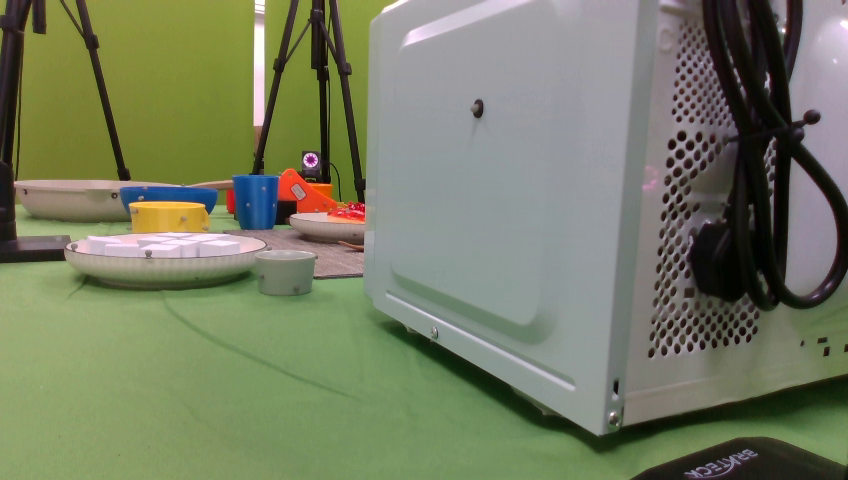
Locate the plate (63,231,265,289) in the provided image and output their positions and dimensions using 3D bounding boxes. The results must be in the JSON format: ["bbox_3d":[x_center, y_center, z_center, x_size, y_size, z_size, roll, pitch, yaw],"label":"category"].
[{"bbox_3d":[-0.288,0.021,0.687,0.208,0.039,0.207,2,8,0],"label":"plate"}]

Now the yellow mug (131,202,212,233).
[{"bbox_3d":[-0.356,-0.020,0.878,0.099,0.064,0.131,5,7,21],"label":"yellow mug"}]

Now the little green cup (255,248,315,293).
[{"bbox_3d":[-0.144,0.031,0.627,0.061,0.038,0.061,2,6,0],"label":"little green cup"}]

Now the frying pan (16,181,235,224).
[{"bbox_3d":[-0.554,-0.097,1.266,0.490,0.102,0.305,-10,13,-24],"label":"frying pan"}]

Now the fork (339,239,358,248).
[{"bbox_3d":[-0.027,0.004,0.925,0.208,0.018,0.028,-2,-4,-18],"label":"fork"}]

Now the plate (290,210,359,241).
[{"bbox_3d":[-0.127,-0.025,1.051,0.209,0.038,0.209,2,7,0],"label":"plate"}]

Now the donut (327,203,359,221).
[{"bbox_3d":[-0.120,-0.037,1.055,0.099,0.048,0.099,5,7,0],"label":"donut"}]

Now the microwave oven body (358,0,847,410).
[{"bbox_3d":[0.210,-0.051,0.471,0.444,0.260,0.324,-1,7,-28],"label":"microwave oven body"}]

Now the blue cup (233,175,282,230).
[{"bbox_3d":[-0.314,-0.071,1.141,0.093,0.100,0.092,0,7,0],"label":"blue cup"}]

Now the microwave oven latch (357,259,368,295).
[{"bbox_3d":[-0.019,0.031,0.529,0.079,0.029,0.030,-1,7,-26],"label":"microwave oven latch"}]

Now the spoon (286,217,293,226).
[{"bbox_3d":[-0.180,-0.037,1.209,0.195,0.021,0.041,-3,-12,-31],"label":"spoon"}]

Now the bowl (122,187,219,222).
[{"bbox_3d":[-0.421,-0.046,1.012,0.151,0.077,0.151,2,8,0],"label":"bowl"}]

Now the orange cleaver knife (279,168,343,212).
[{"bbox_3d":[-0.236,-0.084,1.333,0.212,0.077,0.012,31,-9,-31],"label":"orange cleaver knife"}]

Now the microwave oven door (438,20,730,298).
[{"bbox_3d":[0.181,-0.076,0.618,0.358,0.243,0.039,-2,8,-28],"label":"microwave oven door"}]
